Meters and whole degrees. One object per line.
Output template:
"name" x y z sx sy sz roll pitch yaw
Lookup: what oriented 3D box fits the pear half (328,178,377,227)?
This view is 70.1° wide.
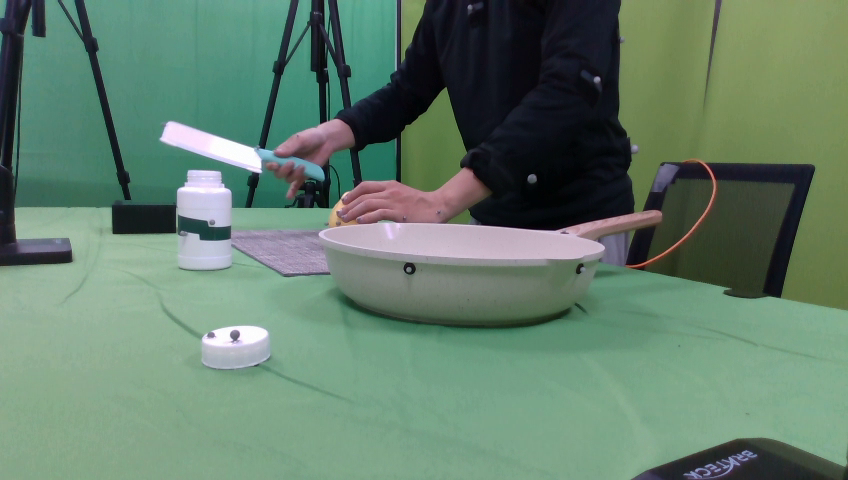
"pear half" -0.109 -0.042 0.943 0.077 0.110 0.055 -5 10 -25

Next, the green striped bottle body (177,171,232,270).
"green striped bottle body" -0.273 -0.026 0.753 0.063 0.119 0.063 2 7 0

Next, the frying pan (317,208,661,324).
"frying pan" 0.121 0.006 0.691 0.490 0.102 0.305 -13 15 -33

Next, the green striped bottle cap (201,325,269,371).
"green striped bottle cap" -0.129 0.073 0.415 0.044 0.020 0.044 3 8 0

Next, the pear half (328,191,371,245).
"pear half" -0.123 -0.037 0.976 0.071 0.088 0.031 -5 10 -25

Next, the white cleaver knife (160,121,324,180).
"white cleaver knife" -0.311 -0.146 1.064 0.288 0.021 0.065 14 45 -29
